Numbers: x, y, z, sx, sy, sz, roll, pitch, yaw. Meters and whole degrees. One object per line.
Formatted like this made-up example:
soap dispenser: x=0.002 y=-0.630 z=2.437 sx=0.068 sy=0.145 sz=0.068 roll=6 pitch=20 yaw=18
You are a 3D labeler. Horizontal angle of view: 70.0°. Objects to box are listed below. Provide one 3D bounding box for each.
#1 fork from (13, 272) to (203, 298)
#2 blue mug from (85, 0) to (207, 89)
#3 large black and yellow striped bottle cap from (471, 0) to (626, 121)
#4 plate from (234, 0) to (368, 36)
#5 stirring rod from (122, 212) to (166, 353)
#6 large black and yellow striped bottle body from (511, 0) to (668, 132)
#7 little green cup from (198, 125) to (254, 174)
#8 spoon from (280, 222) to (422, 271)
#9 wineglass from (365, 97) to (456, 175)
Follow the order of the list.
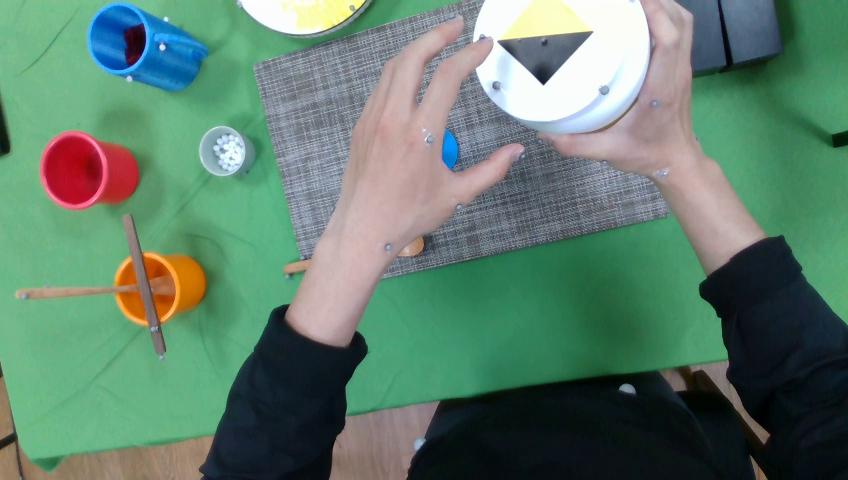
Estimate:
fork: x=-0.383 y=0.058 z=0.749 sx=0.208 sy=0.018 sz=0.028 roll=-2 pitch=102 yaw=-33
blue mug: x=-0.325 y=-0.235 z=0.738 sx=0.116 sy=0.106 sz=0.082 roll=1 pitch=94 yaw=10
large black and yellow striped bottle cap: x=0.089 y=-0.146 z=0.447 sx=0.114 sy=0.019 sz=0.115 roll=5 pitch=101 yaw=27
plate: x=-0.143 y=-0.349 z=0.731 sx=0.209 sy=0.038 sz=0.209 roll=1 pitch=95 yaw=10
stirring rod: x=-0.341 y=0.052 z=0.738 sx=0.014 sy=0.006 sz=0.176 roll=-13 pitch=91 yaw=12
large black and yellow striped bottle body: x=0.130 y=-0.159 z=0.519 sx=0.130 sy=0.184 sz=0.131 roll=6 pitch=102 yaw=28
little green cup: x=-0.248 y=-0.113 z=0.767 sx=0.061 sy=0.038 sz=0.061 roll=1 pitch=95 yaw=11
spoon: x=-0.094 y=0.014 z=0.754 sx=0.193 sy=0.021 sz=0.042 roll=-14 pitch=113 yaw=11
wineglass: x=-0.009 y=-0.107 z=0.652 sx=0.073 sy=0.172 sz=0.074 roll=1 pitch=93 yaw=11
